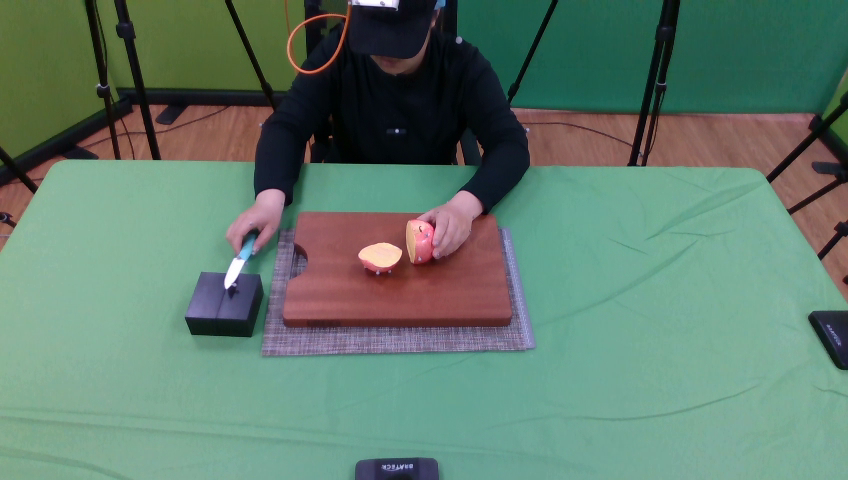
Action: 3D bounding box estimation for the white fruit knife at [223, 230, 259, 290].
[{"bbox_3d":[-0.333,0.034,1.106,0.027,0.016,0.206,1,30,-2],"label":"white fruit knife"}]

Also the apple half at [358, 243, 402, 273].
[{"bbox_3d":[-0.078,0.038,1.110,0.081,0.033,0.081,1,30,0],"label":"apple half"}]

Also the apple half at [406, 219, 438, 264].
[{"bbox_3d":[-0.001,0.004,1.121,0.053,0.075,0.080,-4,43,-14],"label":"apple half"}]
